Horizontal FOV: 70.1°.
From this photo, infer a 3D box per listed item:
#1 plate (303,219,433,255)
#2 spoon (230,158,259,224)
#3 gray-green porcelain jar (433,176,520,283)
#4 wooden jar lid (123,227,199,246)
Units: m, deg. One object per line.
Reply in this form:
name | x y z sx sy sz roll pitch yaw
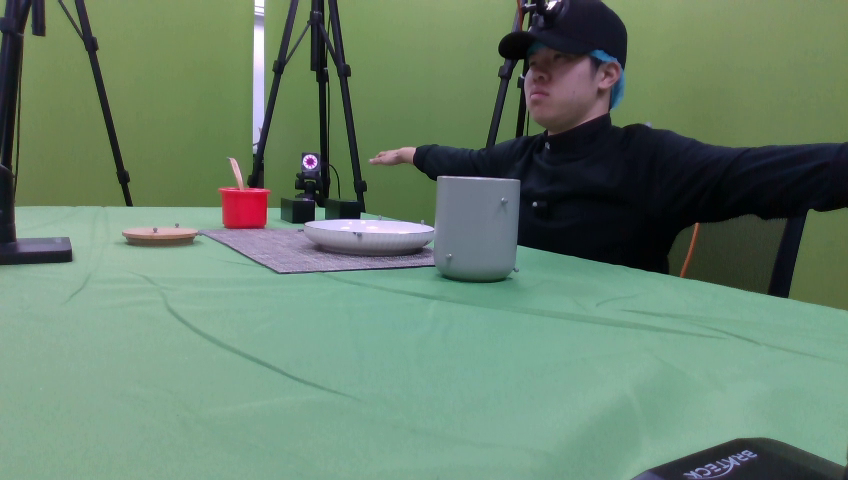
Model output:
plate | -0.085 -0.005 0.952 0.208 0.039 0.207 3 7 0
spoon | -0.366 -0.101 1.215 0.042 0.021 0.193 -1 52 -30
gray-green porcelain jar | 0.064 -0.015 0.759 0.106 0.126 0.106 2 7 0
wooden jar lid | -0.408 -0.006 0.942 0.108 0.020 0.108 3 6 0
